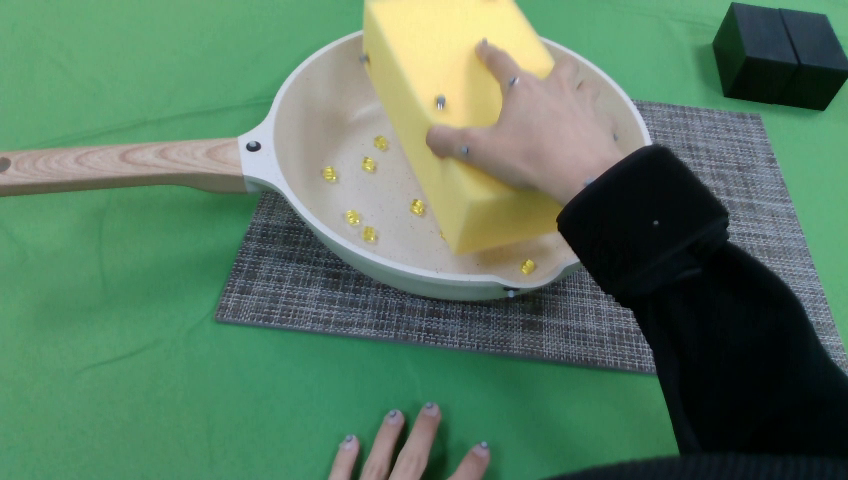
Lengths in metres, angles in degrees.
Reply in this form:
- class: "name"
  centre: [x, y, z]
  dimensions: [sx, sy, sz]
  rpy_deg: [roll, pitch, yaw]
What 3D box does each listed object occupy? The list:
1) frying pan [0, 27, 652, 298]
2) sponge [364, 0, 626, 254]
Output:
- class: "frying pan"
  centre: [-0.072, -0.063, 0.451]
  dimensions: [0.490, 0.103, 0.303]
  rpy_deg: [-4, 51, -18]
- class: "sponge"
  centre: [0.041, -0.098, 0.458]
  dimensions: [0.118, 0.061, 0.204]
  rpy_deg: [-15, 58, -17]
